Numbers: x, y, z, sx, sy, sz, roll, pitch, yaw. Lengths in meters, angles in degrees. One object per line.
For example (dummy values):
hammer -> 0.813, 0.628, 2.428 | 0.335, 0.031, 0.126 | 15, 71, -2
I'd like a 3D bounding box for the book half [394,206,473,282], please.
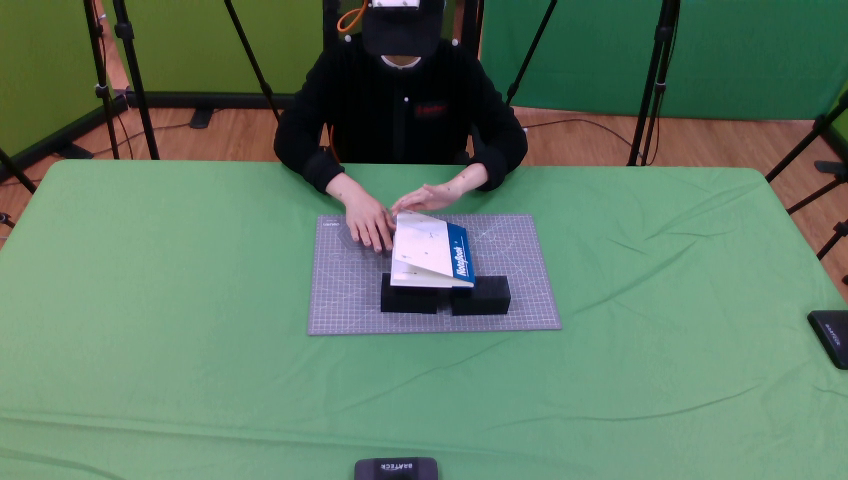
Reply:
book half -> 0.015, 0.004, 1.117 | 0.143, 0.007, 0.209 | 18, 27, -10
